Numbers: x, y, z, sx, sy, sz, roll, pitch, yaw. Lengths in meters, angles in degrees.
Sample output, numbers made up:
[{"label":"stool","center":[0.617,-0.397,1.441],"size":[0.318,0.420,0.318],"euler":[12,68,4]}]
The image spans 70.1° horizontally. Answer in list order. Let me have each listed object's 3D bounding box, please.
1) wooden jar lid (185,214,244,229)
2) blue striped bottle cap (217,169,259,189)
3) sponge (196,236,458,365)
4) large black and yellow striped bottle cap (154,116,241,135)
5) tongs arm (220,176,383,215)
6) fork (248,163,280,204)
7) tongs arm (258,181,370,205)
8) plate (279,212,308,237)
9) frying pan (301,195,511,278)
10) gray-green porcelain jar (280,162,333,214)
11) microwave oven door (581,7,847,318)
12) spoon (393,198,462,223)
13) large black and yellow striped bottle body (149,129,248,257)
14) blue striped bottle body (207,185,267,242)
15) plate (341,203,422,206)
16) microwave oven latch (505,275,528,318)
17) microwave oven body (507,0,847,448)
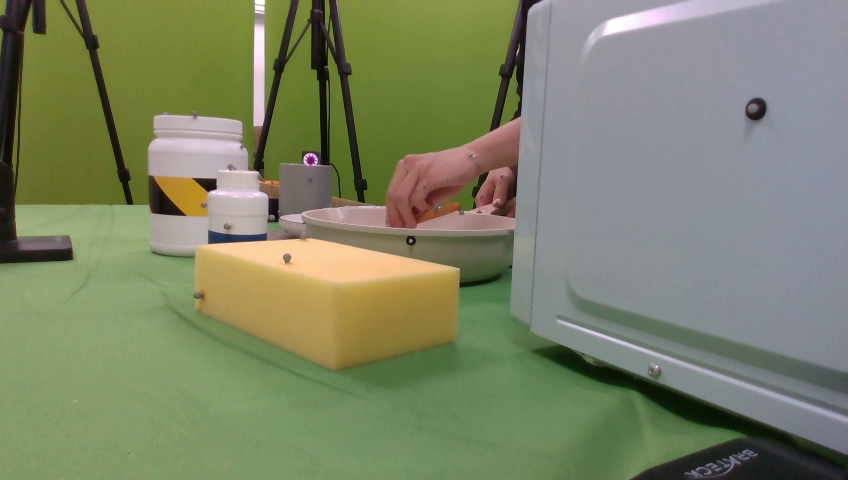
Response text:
[{"label":"wooden jar lid","center":[-0.404,-0.037,1.169],"size":[0.108,0.020,0.108],"euler":[3,7,0]},{"label":"blue striped bottle cap","center":[-0.202,-0.067,0.656],"size":[0.044,0.020,0.044],"euler":[0,10,0]},{"label":"sponge","center":[-0.087,0.039,0.500],"size":[0.206,0.061,0.119],"euler":[8,10,44]},{"label":"large black and yellow striped bottle cap","center":[-0.314,-0.158,0.843],"size":[0.115,0.019,0.115],"euler":[3,7,0]},{"label":"tongs arm","center":[-0.285,-0.105,1.445],"size":[0.389,0.027,0.028],"euler":[10,-4,-23]},{"label":"fork","center":[-0.396,-0.143,1.486],"size":[0.028,0.018,0.208],"euler":[20,-26,45]},{"label":"tongs arm","center":[-0.241,-0.095,1.373],"size":[0.387,0.026,0.050],"euler":[9,0,-37]},{"label":"plate","center":[-0.139,-0.022,1.021],"size":[0.209,0.038,0.209],"euler":[2,8,0]},{"label":"frying pan","center":[0.050,-0.028,0.864],"size":[0.305,0.102,0.490],"euler":[8,17,35]},{"label":"gray-green porcelain jar","center":[-0.238,-0.092,1.221],"size":[0.106,0.126,0.106],"euler":[2,7,0]},{"label":"microwave oven door","center":[0.295,-0.067,0.569],"size":[0.358,0.243,0.039],"euler":[-3,8,-31]},{"label":"spoon","center":[-0.033,-0.022,0.779],"size":[0.193,0.041,0.022],"euler":[-20,1,27]},{"label":"large black and yellow striped bottle body","center":[-0.315,-0.075,0.854],"size":[0.131,0.184,0.130],"euler":[2,7,0]},{"label":"blue striped bottle body","center":[-0.204,-0.016,0.663],"size":[0.063,0.120,0.063],"euler":[2,7,0]},{"label":"plate","center":[-0.089,-0.053,1.309],"size":[0.208,0.039,0.207],"euler":[2,8,0]},{"label":"microwave oven latch","center":[0.100,0.042,0.472],"size":[0.079,0.029,0.030],"euler":[-2,8,-30]},{"label":"microwave oven body","center":[0.331,-0.042,0.425],"size":[0.444,0.260,0.324],"euler":[-2,8,-31]}]
